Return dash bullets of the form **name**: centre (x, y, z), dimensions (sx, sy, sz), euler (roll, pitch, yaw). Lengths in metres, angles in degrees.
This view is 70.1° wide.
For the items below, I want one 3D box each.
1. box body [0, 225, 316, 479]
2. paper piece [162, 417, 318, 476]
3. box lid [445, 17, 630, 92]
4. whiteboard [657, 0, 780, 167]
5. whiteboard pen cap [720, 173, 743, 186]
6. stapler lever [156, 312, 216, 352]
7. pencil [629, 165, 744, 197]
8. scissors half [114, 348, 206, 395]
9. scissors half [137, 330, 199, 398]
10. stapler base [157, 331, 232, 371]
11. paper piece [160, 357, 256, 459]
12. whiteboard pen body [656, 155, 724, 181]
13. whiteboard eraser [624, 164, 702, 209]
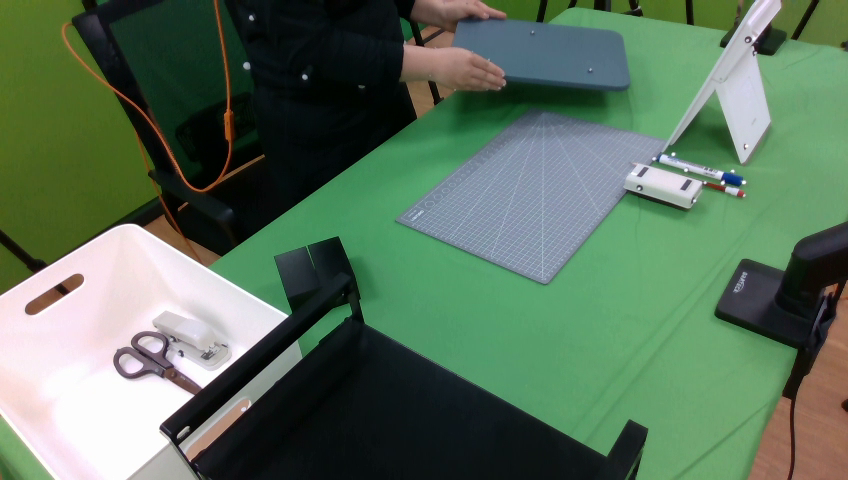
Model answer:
- **box body**: centre (-0.339, 0.162, 0.728), dimensions (0.361, 0.161, 0.255), euler (23, 48, 31)
- **paper piece**: centre (-0.230, 0.236, 0.759), dimensions (0.137, 0.008, 0.137), euler (33, 36, 29)
- **box lid**: centre (0.242, -0.395, 1.274), dimensions (0.371, 0.015, 0.262), euler (7, 44, 5)
- **whiteboard**: centre (0.571, -0.272, 1.038), dimensions (0.143, 0.306, 0.218), euler (37, 54, 17)
- **whiteboard pen cap**: centre (0.519, -0.103, 1.020), dimensions (0.033, 0.018, 0.018), euler (23, 49, 30)
- **stapler lever**: centre (-0.331, 0.122, 0.834), dimensions (0.117, 0.040, 0.027), euler (17, 43, 33)
- **pencil**: centre (0.447, -0.103, 1.038), dimensions (0.192, 0.012, 0.012), euler (21, 48, 29)
- **scissors half**: centre (-0.348, 0.185, 0.810), dimensions (0.174, 0.013, 0.040), euler (14, 52, 19)
- **scissors half**: centre (-0.336, 0.172, 0.822), dimensions (0.040, 0.013, 0.174), euler (-36, 53, -29)
- **stapler base**: centre (-0.326, 0.142, 0.849), dimensions (0.129, 0.024, 0.041), euler (18, 43, 32)
- **paper piece**: centre (-0.232, 0.219, 0.749), dimensions (0.134, 0.004, 0.136), euler (25, 51, 32)
- **whiteboard pen body**: centre (0.475, -0.123, 1.051), dimensions (0.139, 0.017, 0.017), euler (24, 49, 32)
- **whiteboard eraser**: centre (0.396, -0.087, 1.003), dimensions (0.112, 0.042, 0.056), euler (22, 47, 31)
